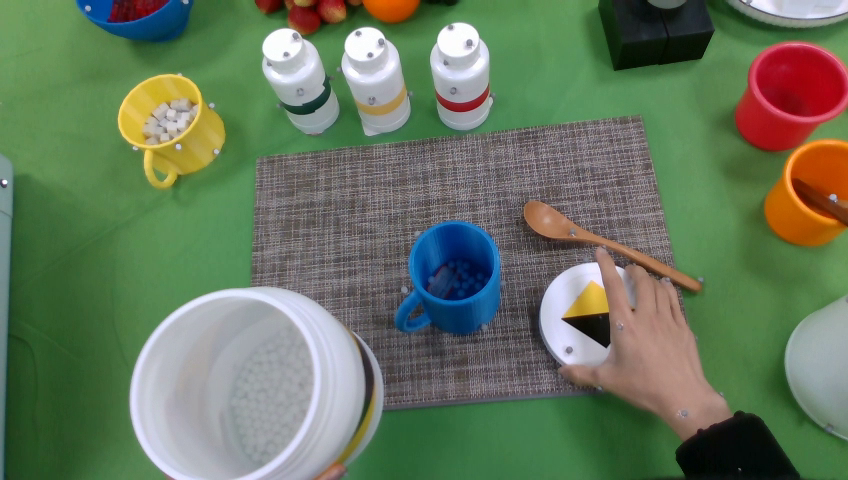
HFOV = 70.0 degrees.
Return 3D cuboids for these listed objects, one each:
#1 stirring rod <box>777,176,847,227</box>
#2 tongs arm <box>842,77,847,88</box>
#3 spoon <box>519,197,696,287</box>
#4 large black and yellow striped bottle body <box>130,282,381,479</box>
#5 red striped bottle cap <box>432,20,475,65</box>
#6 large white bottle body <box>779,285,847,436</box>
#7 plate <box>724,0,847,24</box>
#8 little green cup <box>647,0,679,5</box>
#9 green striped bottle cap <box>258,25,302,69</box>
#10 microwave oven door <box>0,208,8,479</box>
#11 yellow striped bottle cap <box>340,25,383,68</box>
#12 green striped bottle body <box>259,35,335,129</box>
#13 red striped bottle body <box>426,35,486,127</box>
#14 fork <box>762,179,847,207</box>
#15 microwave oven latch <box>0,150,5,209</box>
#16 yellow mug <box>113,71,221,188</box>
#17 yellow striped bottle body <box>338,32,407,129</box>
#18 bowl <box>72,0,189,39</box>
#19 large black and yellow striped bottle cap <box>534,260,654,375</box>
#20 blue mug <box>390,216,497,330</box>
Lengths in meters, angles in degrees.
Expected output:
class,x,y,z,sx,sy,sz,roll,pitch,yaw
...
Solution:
class,x,y,z,sx,sy,sz,roll,pitch,yaw
stirring rod,0.377,-0.029,0.561,0.014,0.006,0.175,-3,25,2
tongs arm,0.604,-0.062,0.603,0.051,0.027,0.382,-40,71,-13
spoon,0.188,0.004,0.626,0.193,0.022,0.041,24,51,14
large black and yellow striped bottle body,-0.105,0.103,0.420,0.131,0.185,0.130,-1,74,3
red striped bottle cap,0.030,-0.202,0.616,0.044,0.018,0.044,-1,67,2
large white bottle body,0.391,0.088,0.487,0.130,0.186,0.129,-2,68,6
plate,0.434,-0.339,0.727,0.209,0.038,0.207,-2,69,5
little green cup,0.269,-0.294,0.672,0.061,0.039,0.061,-2,67,4
green striped bottle cap,-0.152,-0.203,0.636,0.044,0.020,0.044,-1,69,3
microwave oven door,-0.472,0.088,0.531,0.039,0.245,0.353,-15,68,1
yellow striped bottle cap,-0.065,-0.201,0.626,0.044,0.019,0.044,-1,65,2
green striped bottle body,-0.144,-0.183,0.685,0.063,0.120,0.062,-2,68,5
red striped bottle body,0.036,-0.182,0.665,0.063,0.120,0.062,-2,68,6
fork,0.406,-0.030,0.550,0.028,0.019,0.205,-32,24,-15
microwave oven latch,-0.509,-0.073,0.705,0.030,0.030,0.078,-13,69,1
yellow mug,-0.302,-0.124,0.708,0.100,0.064,0.130,4,70,7
yellow striped bottle body,-0.058,-0.182,0.675,0.063,0.121,0.062,-2,68,6
bowl,-0.362,-0.316,0.781,0.151,0.077,0.150,-2,69,5
large black and yellow striped bottle cap,0.167,0.075,0.600,0.115,0.019,0.114,-2,68,5
blue mug,0.016,0.045,0.583,0.116,0.106,0.081,-38,69,-8
